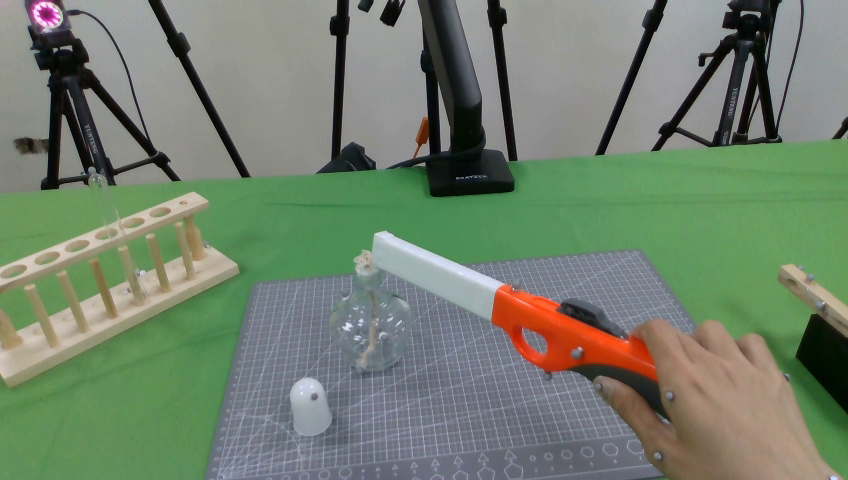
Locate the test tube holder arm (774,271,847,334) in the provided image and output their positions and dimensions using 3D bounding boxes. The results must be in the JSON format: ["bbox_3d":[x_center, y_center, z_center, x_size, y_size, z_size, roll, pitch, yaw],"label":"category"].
[{"bbox_3d":[0.349,0.053,0.541,0.015,0.010,0.087,-14,32,-6],"label":"test tube holder arm"}]

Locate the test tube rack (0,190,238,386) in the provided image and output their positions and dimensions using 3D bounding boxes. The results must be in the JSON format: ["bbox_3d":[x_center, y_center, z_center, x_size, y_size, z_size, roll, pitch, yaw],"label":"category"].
[{"bbox_3d":[-0.323,0.039,0.624,0.066,0.086,0.242,27,43,36],"label":"test tube rack"}]

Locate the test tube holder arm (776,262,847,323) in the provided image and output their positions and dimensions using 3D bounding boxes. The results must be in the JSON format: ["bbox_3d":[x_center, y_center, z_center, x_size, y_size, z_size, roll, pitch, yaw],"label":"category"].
[{"bbox_3d":[0.358,0.070,0.500,0.015,0.013,0.176,-14,32,-6],"label":"test tube holder arm"}]

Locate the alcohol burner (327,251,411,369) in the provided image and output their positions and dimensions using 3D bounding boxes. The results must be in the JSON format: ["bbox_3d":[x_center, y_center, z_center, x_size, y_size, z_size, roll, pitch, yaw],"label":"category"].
[{"bbox_3d":[-0.051,0.058,0.547,0.078,0.120,0.077,0,34,1],"label":"alcohol burner"}]

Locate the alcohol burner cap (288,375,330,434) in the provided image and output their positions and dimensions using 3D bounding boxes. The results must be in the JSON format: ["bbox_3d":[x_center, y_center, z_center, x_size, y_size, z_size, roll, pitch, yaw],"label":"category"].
[{"bbox_3d":[-0.096,0.133,0.500,0.034,0.048,0.033,0,33,1],"label":"alcohol burner cap"}]

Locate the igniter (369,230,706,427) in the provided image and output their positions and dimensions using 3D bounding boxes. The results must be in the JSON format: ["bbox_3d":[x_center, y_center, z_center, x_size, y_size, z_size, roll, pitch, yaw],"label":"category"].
[{"bbox_3d":[0.061,0.049,0.425,0.274,0.057,0.025,23,27,37],"label":"igniter"}]

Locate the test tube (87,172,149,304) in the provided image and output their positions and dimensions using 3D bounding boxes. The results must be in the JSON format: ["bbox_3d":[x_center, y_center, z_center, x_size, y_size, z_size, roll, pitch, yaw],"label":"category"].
[{"bbox_3d":[-0.300,0.001,0.597,0.017,0.151,0.017,-1,34,1],"label":"test tube"}]
